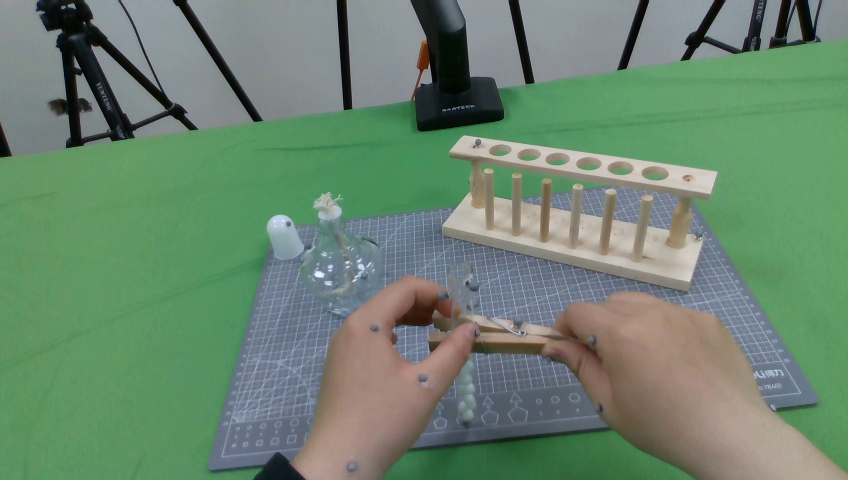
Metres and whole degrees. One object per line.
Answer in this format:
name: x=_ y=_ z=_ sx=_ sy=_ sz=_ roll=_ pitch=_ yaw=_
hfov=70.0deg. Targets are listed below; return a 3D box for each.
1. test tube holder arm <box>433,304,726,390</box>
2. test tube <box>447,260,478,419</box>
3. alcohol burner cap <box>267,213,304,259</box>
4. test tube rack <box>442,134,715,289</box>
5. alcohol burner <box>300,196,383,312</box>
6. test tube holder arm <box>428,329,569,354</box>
test tube holder arm: x=0.091 y=0.065 z=0.376 sx=0.178 sy=0.015 sz=0.013 roll=10 pitch=49 yaw=15
test tube: x=0.027 y=0.073 z=0.403 sx=0.017 sy=0.151 sz=0.017 roll=-3 pitch=41 yaw=3
alcohol burner cap: x=-0.148 y=-0.007 z=0.637 sx=0.034 sy=0.048 sz=0.033 roll=-5 pitch=40 yaw=4
test tube rack: x=0.135 y=-0.033 z=0.576 sx=0.241 sy=0.086 sz=0.066 roll=13 pitch=44 yaw=26
alcohol burner: x=-0.078 y=0.008 z=0.546 sx=0.078 sy=0.120 sz=0.077 roll=-4 pitch=40 yaw=4
test tube holder arm: x=0.046 y=0.064 z=0.382 sx=0.088 sy=0.015 sz=0.010 roll=0 pitch=46 yaw=6
